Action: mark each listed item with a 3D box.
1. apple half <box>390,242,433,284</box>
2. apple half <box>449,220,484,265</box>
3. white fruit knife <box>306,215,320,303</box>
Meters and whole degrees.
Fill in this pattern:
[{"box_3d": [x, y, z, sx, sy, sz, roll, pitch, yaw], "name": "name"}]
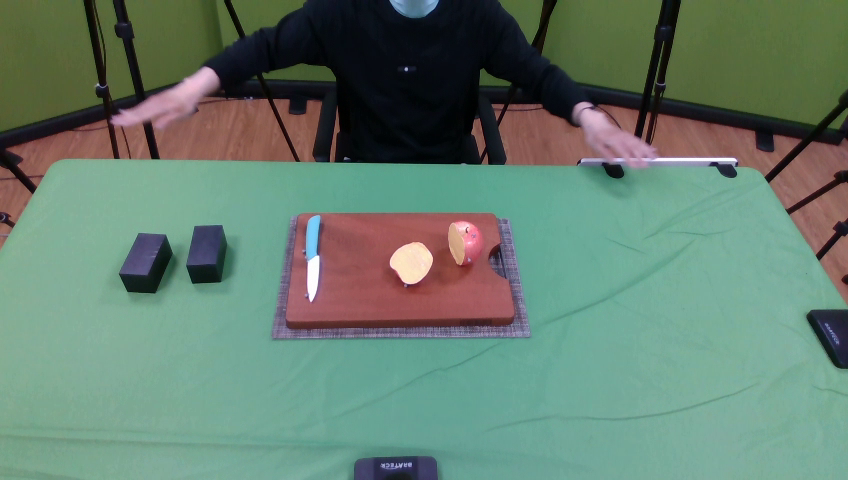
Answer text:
[{"box_3d": [-0.017, 0.045, 1.096, 0.081, 0.033, 0.081, -6, 64, 13], "name": "apple half"}, {"box_3d": [0.083, 0.004, 1.121, 0.053, 0.075, 0.080, -10, 43, -19], "name": "apple half"}, {"box_3d": [-0.206, 0.032, 1.113, 0.027, 0.016, 0.206, -12, 47, 5], "name": "white fruit knife"}]
